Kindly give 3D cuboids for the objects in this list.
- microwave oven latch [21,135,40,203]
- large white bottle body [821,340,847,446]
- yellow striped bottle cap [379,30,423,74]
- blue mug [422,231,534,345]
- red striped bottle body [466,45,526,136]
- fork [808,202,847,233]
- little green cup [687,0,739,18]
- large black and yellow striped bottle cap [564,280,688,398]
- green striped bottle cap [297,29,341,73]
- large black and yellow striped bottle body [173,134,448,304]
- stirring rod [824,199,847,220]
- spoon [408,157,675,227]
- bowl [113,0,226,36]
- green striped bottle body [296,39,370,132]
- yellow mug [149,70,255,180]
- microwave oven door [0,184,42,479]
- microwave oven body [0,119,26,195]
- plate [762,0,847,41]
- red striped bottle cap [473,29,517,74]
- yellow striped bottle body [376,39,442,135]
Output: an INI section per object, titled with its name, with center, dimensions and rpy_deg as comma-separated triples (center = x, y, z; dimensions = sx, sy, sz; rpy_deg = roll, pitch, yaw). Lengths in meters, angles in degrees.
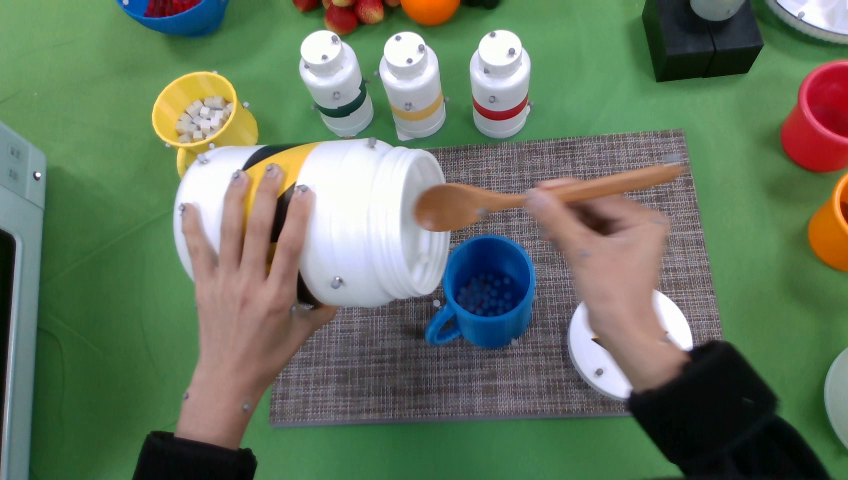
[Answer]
[microwave oven latch]
center = -0.470, -0.080, 0.708
dimensions = 0.030, 0.030, 0.078
rpy_deg = -11, 69, 2
[large white bottle body]
center = 0.417, 0.115, 0.468
dimensions = 0.130, 0.186, 0.129
rpy_deg = -2, 68, 6
[yellow striped bottle cap]
center = -0.023, -0.191, 0.616
dimensions = 0.044, 0.019, 0.044
rpy_deg = -1, 66, 2
[blue mug]
center = 0.047, 0.058, 0.573
dimensions = 0.116, 0.106, 0.081
rpy_deg = -36, 68, -7
[red striped bottle body]
center = 0.078, -0.169, 0.653
dimensions = 0.063, 0.120, 0.062
rpy_deg = -2, 68, 6
[fork]
center = 0.439, -0.002, 0.529
dimensions = 0.028, 0.019, 0.205
rpy_deg = -33, 24, -12
[little green cup]
center = 0.315, -0.272, 0.652
dimensions = 0.061, 0.039, 0.061
rpy_deg = -2, 67, 5
[large black and yellow striped bottle cap]
center = 0.195, 0.095, 0.590
dimensions = 0.115, 0.019, 0.114
rpy_deg = -2, 68, 6
[green striped bottle cap]
center = -0.109, -0.196, 0.629
dimensions = 0.044, 0.020, 0.044
rpy_deg = -2, 67, 6
[large black and yellow striped bottle body]
center = -0.083, -0.016, 0.480
dimensions = 0.183, 0.132, 0.130
rpy_deg = 0, 68, 20
[stirring rod]
center = 0.410, -0.002, 0.541
dimensions = 0.014, 0.006, 0.175
rpy_deg = -1, 26, 4
[spoon]
center = 0.072, -0.033, 0.420
dimensions = 0.193, 0.042, 0.021
rpy_deg = -5, 34, 35
[bowl]
center = -0.311, -0.318, 0.778
dimensions = 0.151, 0.077, 0.150
rpy_deg = -2, 69, 6
[green striped bottle body]
center = -0.102, -0.177, 0.677
dimensions = 0.063, 0.120, 0.062
rpy_deg = -2, 69, 6
[yellow mug]
center = -0.261, -0.124, 0.704
dimensions = 0.100, 0.064, 0.130
rpy_deg = 6, 71, 9
[microwave oven door]
center = -0.444, 0.083, 0.534
dimensions = 0.039, 0.245, 0.353
rpy_deg = -12, 68, 3
[microwave oven body]
center = -0.594, 0.077, 0.560
dimensions = 0.326, 0.262, 0.438
rpy_deg = -12, 69, 2
[plate]
center = 0.483, -0.312, 0.702
dimensions = 0.209, 0.038, 0.207
rpy_deg = -2, 70, 6
[red striped bottle cap]
center = 0.071, -0.188, 0.603
dimensions = 0.044, 0.018, 0.044
rpy_deg = -1, 67, 3
[yellow striped bottle body]
center = -0.016, -0.173, 0.664
dimensions = 0.063, 0.121, 0.062
rpy_deg = -2, 68, 6
